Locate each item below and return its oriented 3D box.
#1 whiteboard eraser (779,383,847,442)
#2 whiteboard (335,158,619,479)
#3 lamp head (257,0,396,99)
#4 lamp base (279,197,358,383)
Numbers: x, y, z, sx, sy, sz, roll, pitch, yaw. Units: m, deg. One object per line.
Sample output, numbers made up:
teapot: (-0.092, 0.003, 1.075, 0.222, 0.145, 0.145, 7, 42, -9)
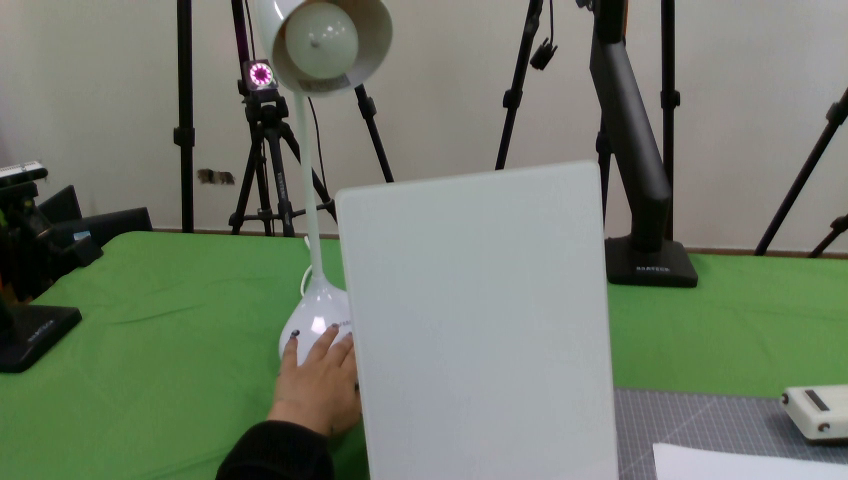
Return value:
whiteboard eraser: (0.420, 0.170, 0.598, 0.113, 0.042, 0.055, -2, 29, 0)
whiteboard: (0.042, 0.088, 0.561, 0.217, 0.306, 0.143, -8, 10, -9)
lamp head: (-0.098, -0.203, 0.539, 0.113, 0.113, 0.121, -16, 56, -25)
lamp base: (-0.107, 0.048, 0.716, 0.161, 0.181, 0.177, -23, 32, -34)
